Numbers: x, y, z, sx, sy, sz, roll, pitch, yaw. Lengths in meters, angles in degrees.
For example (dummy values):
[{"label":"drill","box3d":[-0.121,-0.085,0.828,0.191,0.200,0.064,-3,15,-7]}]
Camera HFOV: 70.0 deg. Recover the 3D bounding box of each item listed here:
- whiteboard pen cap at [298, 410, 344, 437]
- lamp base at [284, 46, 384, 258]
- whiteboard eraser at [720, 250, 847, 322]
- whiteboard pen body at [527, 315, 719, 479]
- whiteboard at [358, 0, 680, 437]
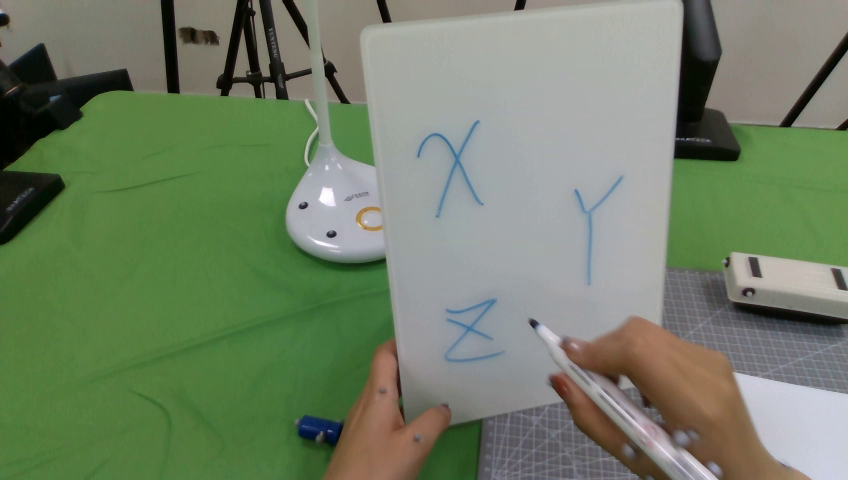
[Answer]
[{"label":"whiteboard pen cap","box3d":[-0.080,0.144,0.474,0.033,0.018,0.018,6,40,9]},{"label":"lamp base","box3d":[-0.085,-0.100,0.637,0.161,0.182,0.177,-29,45,-29]},{"label":"whiteboard eraser","box3d":[0.341,0.043,0.568,0.112,0.042,0.055,9,42,11]},{"label":"whiteboard pen body","box3d":[0.101,0.086,0.318,0.017,0.017,0.139,-25,51,-26]},{"label":"whiteboard","box3d":[0.066,-0.027,0.498,0.217,0.307,0.142,-9,22,-8]}]
